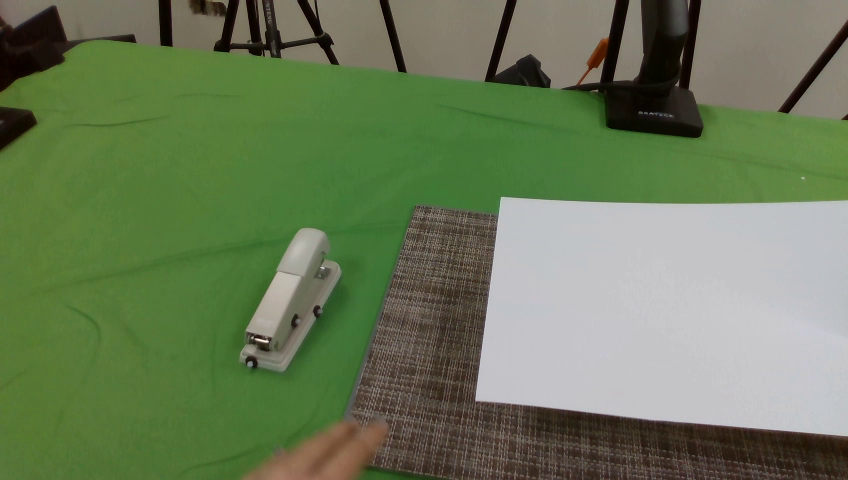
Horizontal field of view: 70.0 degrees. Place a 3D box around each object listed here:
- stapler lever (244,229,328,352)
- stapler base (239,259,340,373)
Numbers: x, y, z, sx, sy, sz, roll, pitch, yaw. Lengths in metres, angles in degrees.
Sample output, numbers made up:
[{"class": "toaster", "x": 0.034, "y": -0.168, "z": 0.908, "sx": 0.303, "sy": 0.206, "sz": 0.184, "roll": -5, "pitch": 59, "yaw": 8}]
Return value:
[{"class": "stapler lever", "x": -0.114, "y": 0.037, "z": 0.508, "sx": 0.027, "sy": 0.040, "sz": 0.117, "roll": 10, "pitch": 43, "yaw": 13}, {"class": "stapler base", "x": -0.114, "y": 0.055, "z": 0.526, "sx": 0.041, "sy": 0.024, "sz": 0.129, "roll": 10, "pitch": 43, "yaw": 13}]
